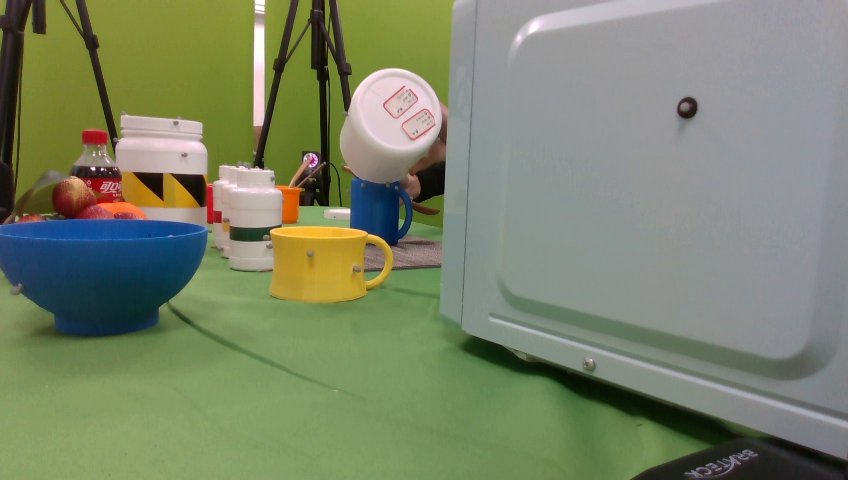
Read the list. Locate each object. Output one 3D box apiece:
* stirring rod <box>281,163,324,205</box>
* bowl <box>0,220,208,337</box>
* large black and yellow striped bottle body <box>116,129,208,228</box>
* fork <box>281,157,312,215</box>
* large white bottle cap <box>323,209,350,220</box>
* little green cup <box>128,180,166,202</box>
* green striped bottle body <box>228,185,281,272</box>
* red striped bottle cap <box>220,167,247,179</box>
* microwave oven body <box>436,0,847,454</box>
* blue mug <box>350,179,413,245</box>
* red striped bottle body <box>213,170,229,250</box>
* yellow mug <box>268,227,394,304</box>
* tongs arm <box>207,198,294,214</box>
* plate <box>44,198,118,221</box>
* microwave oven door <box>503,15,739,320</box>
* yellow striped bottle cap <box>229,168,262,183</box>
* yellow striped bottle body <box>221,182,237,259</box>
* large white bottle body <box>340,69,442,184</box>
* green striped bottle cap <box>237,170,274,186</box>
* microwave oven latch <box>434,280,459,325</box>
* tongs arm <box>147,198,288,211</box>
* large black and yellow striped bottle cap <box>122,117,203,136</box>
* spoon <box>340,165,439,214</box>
[{"bbox_3d":[-0.278,-0.105,1.293,0.176,0.006,0.014,-47,25,-19],"label":"stirring rod"},{"bbox_3d":[-0.251,0.029,0.479,0.151,0.077,0.151,2,7,0],"label":"bowl"},{"bbox_3d":[-0.404,-0.089,0.937,0.131,0.184,0.130,3,7,0],"label":"large black and yellow striped bottle body"},{"bbox_3d":[-0.289,-0.116,1.321,0.028,0.019,0.207,7,52,18],"label":"fork"},{"bbox_3d":[-0.184,-0.062,1.449,0.115,0.018,0.115,2,8,0],"label":"large white bottle cap"},{"bbox_3d":[-0.485,-0.087,1.062,0.061,0.038,0.061,-1,6,0],"label":"little green cup"},{"bbox_3d":[-0.208,-0.024,0.745,0.063,0.119,0.063,2,7,0],"label":"green striped bottle body"},{"bbox_3d":[-0.281,-0.099,0.901,0.044,0.017,0.044,-1,5,0],"label":"red striped bottle cap"},{"bbox_3d":[0.279,-0.040,0.464,0.444,0.260,0.324,-3,9,-41],"label":"microwave oven body"},{"bbox_3d":[-0.068,-0.047,1.001,0.116,0.106,0.083,6,9,29],"label":"blue mug"},{"bbox_3d":[-0.283,-0.047,0.909,0.063,0.119,0.063,3,14,0],"label":"red striped bottle body"},{"bbox_3d":[-0.094,0.023,0.629,0.131,0.064,0.099,0,8,-22],"label":"yellow mug"},{"bbox_3d":[-0.423,-0.084,1.472,0.050,0.026,0.386,1,6,22],"label":"tongs arm"},{"bbox_3d":[-0.617,-0.056,1.179,0.209,0.038,0.209,3,7,0],"label":"plate"},{"bbox_3d":[0.218,-0.065,0.600,0.358,0.243,0.039,-4,10,-41],"label":"microwave oven door"},{"bbox_3d":[-0.240,-0.087,0.816,0.044,0.018,0.044,-3,5,1],"label":"yellow striped bottle cap"},{"bbox_3d":[-0.243,-0.035,0.823,0.063,0.120,0.063,2,8,0],"label":"yellow striped bottle body"},{"bbox_3d":[-0.057,-0.161,0.915,0.131,0.130,0.184,1,-10,-14],"label":"large white bottle body"},{"bbox_3d":[-0.205,-0.075,0.737,0.044,0.020,0.044,1,6,0],"label":"green striped bottle cap"},{"bbox_3d":[0.044,0.045,0.470,0.079,0.029,0.030,-2,8,-39],"label":"microwave oven latch"},{"bbox_3d":[-0.503,-0.090,1.513,0.028,0.028,0.389,-1,3,38],"label":"tongs arm"},{"bbox_3d":[-0.399,-0.174,0.927,0.115,0.019,0.115,5,9,-1],"label":"large black and yellow striped bottle cap"},{"bbox_3d":[-0.061,-0.089,1.067,0.194,0.021,0.041,29,-3,2],"label":"spoon"}]
